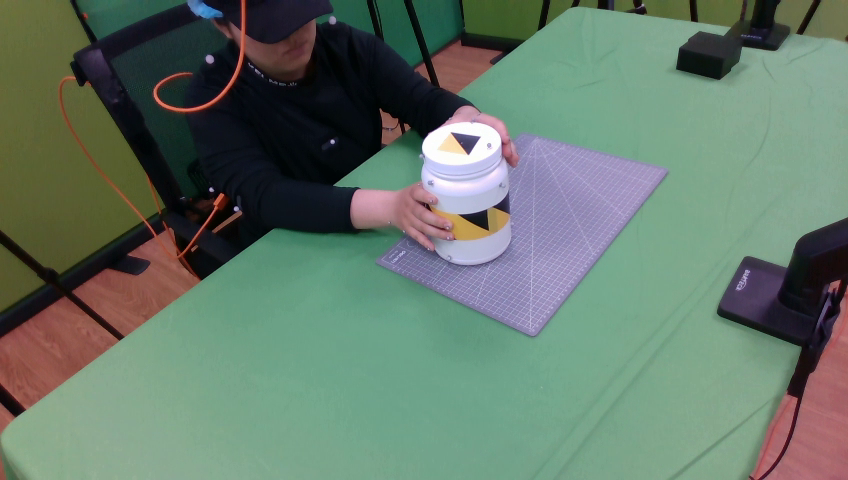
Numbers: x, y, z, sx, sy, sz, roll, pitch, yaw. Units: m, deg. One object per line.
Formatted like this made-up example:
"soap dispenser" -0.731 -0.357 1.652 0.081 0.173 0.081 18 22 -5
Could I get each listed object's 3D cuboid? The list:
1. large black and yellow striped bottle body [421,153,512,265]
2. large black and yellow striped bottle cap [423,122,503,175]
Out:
"large black and yellow striped bottle body" 0.066 -0.068 0.920 0.131 0.185 0.130 -5 40 5
"large black and yellow striped bottle cap" 0.055 -0.133 0.864 0.115 0.019 0.114 -6 40 6
